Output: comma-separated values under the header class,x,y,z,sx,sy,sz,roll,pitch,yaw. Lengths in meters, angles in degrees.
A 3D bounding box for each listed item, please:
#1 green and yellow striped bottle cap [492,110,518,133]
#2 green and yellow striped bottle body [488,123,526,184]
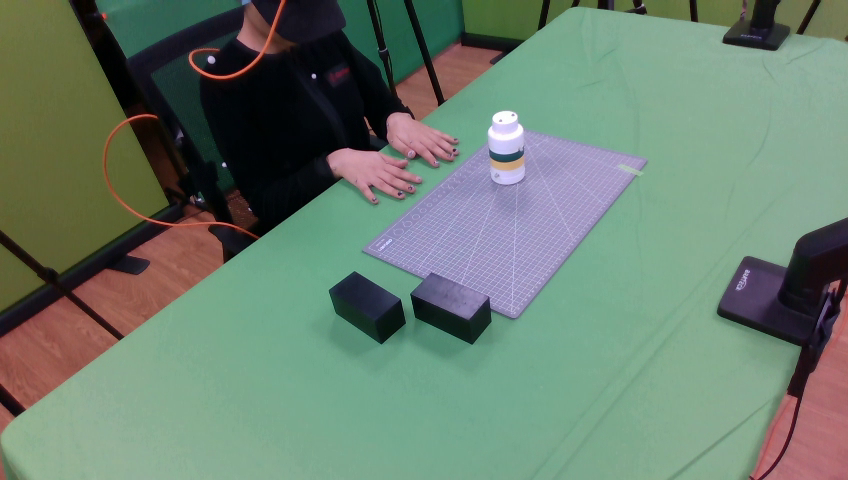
class,x,y,z,sx,sy,sz,roll,pitch,yaw
green and yellow striped bottle cap,0.139,-0.203,1.034,0.045,0.020,0.045,-4,41,4
green and yellow striped bottle body,0.147,-0.163,1.067,0.063,0.120,0.063,-5,40,5
